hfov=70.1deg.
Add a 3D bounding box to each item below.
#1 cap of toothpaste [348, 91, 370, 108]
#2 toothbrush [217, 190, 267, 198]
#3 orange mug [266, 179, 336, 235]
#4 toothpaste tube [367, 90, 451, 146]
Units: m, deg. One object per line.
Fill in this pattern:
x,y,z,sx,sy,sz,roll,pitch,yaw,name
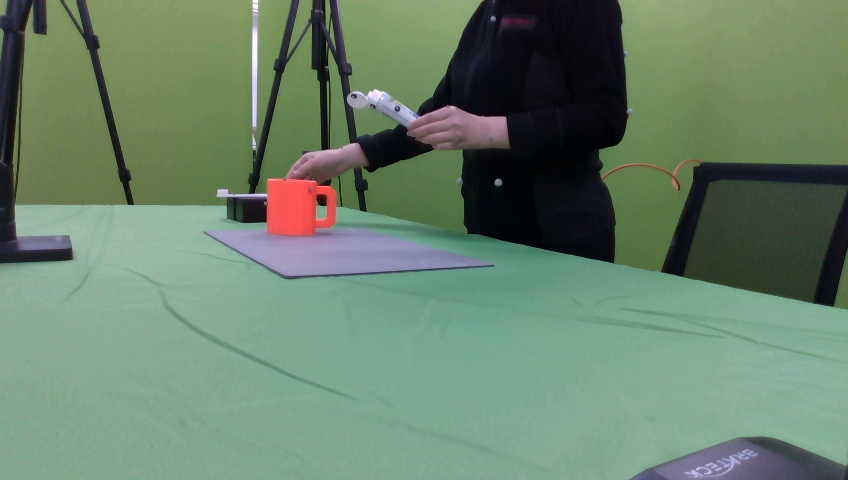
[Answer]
-0.110,-0.240,1.024,0.037,0.011,0.037,2,-35,2,cap of toothpaste
-0.344,-0.096,1.282,0.183,0.016,0.014,-1,5,-27,toothbrush
-0.222,-0.062,1.094,0.127,0.101,0.083,-5,10,-22,orange mug
-0.026,-0.210,1.045,0.165,0.034,0.055,30,28,-5,toothpaste tube
